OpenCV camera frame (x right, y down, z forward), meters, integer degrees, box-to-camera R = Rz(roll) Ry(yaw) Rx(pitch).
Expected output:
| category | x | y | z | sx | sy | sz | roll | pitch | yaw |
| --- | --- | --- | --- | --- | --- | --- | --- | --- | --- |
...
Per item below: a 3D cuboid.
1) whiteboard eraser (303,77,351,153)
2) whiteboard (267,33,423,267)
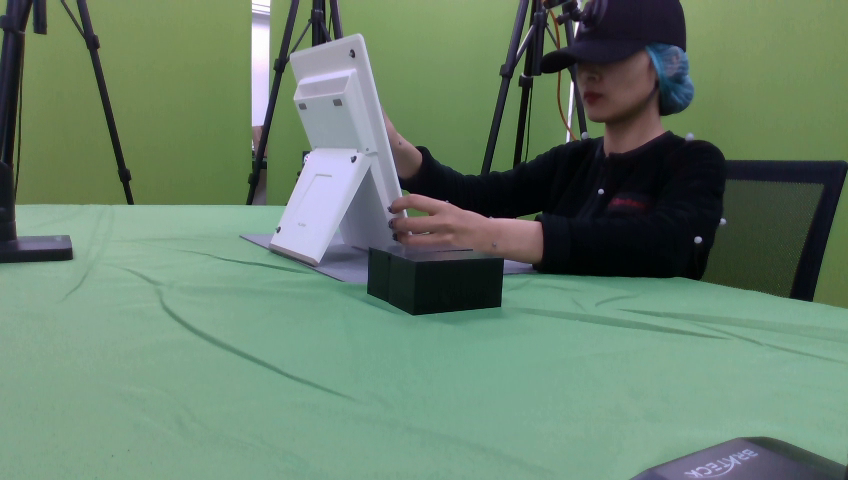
| category | x | y | z | sx | sy | sz | roll | pitch | yaw |
| --- | --- | --- | --- | --- | --- | --- | --- | --- | --- |
| whiteboard eraser | -0.149 | -0.188 | 0.919 | 0.042 | 0.113 | 0.055 | -27 | 22 | -31 |
| whiteboard | -0.153 | -0.097 | 0.819 | 0.144 | 0.305 | 0.216 | -25 | 21 | -29 |
